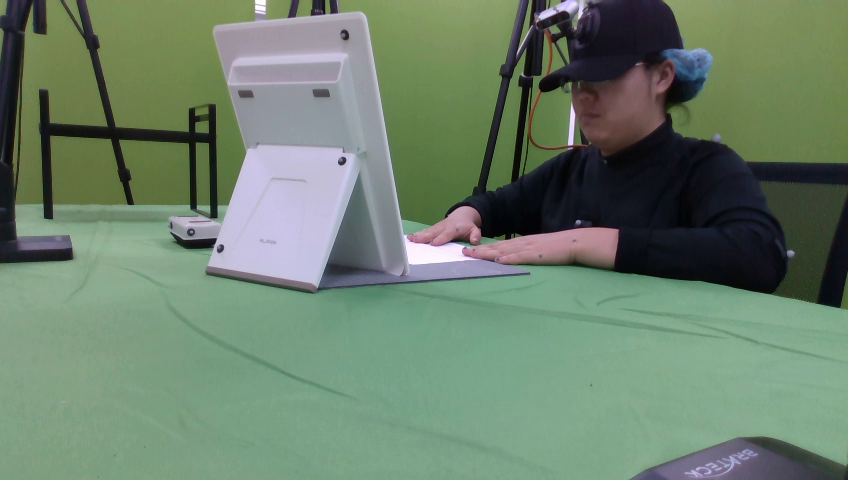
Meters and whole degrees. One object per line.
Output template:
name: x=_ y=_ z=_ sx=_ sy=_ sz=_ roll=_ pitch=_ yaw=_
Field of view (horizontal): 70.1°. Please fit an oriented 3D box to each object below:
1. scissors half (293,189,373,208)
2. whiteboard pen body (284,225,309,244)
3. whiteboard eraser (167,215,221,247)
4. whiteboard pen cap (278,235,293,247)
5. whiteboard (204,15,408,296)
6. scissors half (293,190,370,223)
scissors half: x=-0.201 y=-0.097 z=1.332 sx=0.175 sy=0.040 sz=0.013 roll=5 pitch=18 yaw=-5
whiteboard pen body: x=-0.208 y=-0.008 z=0.985 sx=0.017 sy=0.017 sz=0.141 roll=3 pitch=9 yaw=1
whiteboard eraser: x=-0.350 y=-0.014 z=0.920 sx=0.056 sy=0.042 sz=0.112 roll=0 pitch=7 yaw=-35
whiteboard pen cap: x=-0.211 y=0.001 z=0.928 sx=0.018 sy=0.018 sz=0.033 roll=3 pitch=6 yaw=1
whiteboard: x=-0.166 y=-0.072 z=0.669 sx=0.216 sy=0.305 sz=0.144 roll=8 pitch=30 yaw=30
scissors half: x=-0.205 y=-0.078 z=1.338 sx=0.175 sy=0.040 sz=0.013 roll=22 pitch=10 yaw=-8
